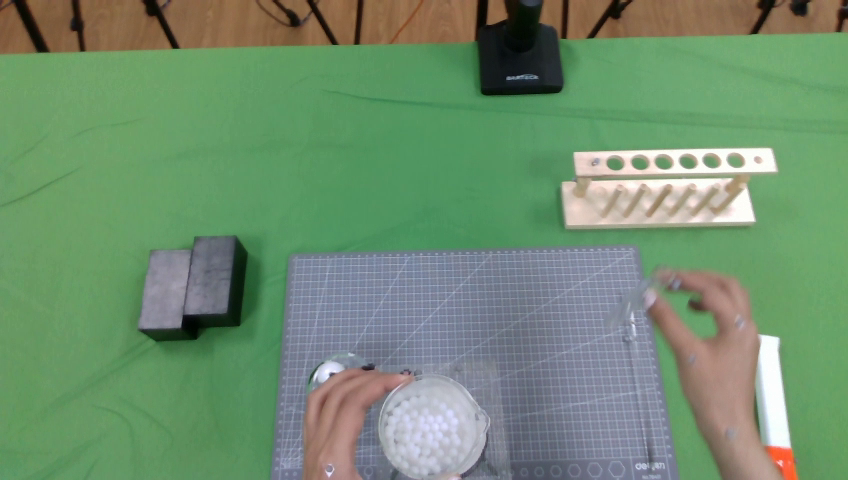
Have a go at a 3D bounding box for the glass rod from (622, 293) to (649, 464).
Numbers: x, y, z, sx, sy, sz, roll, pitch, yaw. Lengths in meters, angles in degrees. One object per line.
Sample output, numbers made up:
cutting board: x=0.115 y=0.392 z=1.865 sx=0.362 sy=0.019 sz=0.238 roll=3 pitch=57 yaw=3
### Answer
glass rod: x=0.248 y=0.158 z=0.711 sx=0.008 sy=0.008 sz=0.198 roll=0 pitch=69 yaw=0

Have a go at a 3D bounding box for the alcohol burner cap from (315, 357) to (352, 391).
alcohol burner cap: x=-0.095 y=0.137 z=0.625 sx=0.034 sy=0.048 sz=0.033 roll=-2 pitch=70 yaw=6

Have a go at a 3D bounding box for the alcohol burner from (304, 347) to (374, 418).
alcohol burner: x=-0.094 y=0.151 z=0.658 sx=0.078 sy=0.120 sz=0.077 roll=0 pitch=64 yaw=1

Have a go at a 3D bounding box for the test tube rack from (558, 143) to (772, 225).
test tube rack: x=0.302 y=-0.070 z=0.771 sx=0.242 sy=0.086 sz=0.066 roll=-1 pitch=66 yaw=0

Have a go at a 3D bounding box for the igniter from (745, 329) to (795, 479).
igniter: x=0.386 y=0.235 z=0.670 sx=0.057 sy=0.025 sz=0.274 roll=9 pitch=67 yaw=-7

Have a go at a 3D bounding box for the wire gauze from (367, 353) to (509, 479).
wire gauze: x=0.011 y=0.169 z=0.565 sx=0.125 sy=0.011 sz=0.120 roll=-4 pitch=65 yaw=-2

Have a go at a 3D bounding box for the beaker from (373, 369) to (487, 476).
beaker: x=0.002 y=0.147 z=0.480 sx=0.084 sy=0.101 sz=0.073 roll=-4 pitch=69 yaw=-6

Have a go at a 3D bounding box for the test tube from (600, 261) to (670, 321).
test tube: x=0.190 y=0.051 z=0.559 sx=0.017 sy=0.151 sz=0.017 roll=0 pitch=68 yaw=-1

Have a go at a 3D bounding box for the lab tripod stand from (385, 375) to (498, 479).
lab tripod stand: x=0.013 y=0.199 z=0.626 sx=0.148 sy=0.132 sz=0.147 roll=-1 pitch=65 yaw=2
